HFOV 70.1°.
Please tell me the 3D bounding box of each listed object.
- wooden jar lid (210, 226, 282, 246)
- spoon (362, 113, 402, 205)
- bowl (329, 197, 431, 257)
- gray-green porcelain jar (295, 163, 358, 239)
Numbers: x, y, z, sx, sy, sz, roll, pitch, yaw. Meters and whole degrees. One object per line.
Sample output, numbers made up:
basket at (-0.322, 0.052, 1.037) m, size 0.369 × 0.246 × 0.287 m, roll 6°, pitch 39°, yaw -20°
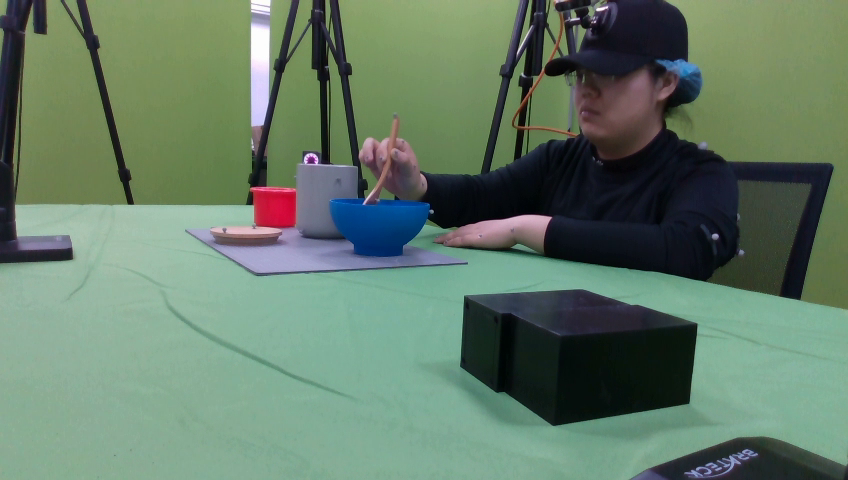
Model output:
wooden jar lid at (-0.279, -0.007, 0.951) m, size 0.108 × 0.020 × 0.108 m, roll 2°, pitch 8°, yaw 0°
spoon at (-0.062, -0.101, 0.911) m, size 0.021 × 0.193 × 0.042 m, roll 16°, pitch -8°, yaw 29°
bowl at (-0.066, -0.019, 0.894) m, size 0.151 × 0.077 × 0.151 m, roll 3°, pitch 7°, yaw 0°
gray-green porcelain jar at (-0.170, -0.069, 1.054) m, size 0.106 × 0.126 × 0.106 m, roll 3°, pitch 8°, yaw 0°
